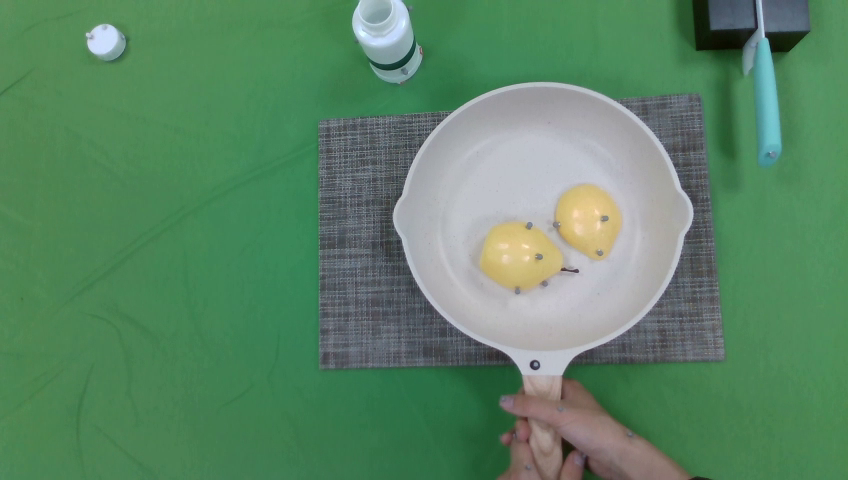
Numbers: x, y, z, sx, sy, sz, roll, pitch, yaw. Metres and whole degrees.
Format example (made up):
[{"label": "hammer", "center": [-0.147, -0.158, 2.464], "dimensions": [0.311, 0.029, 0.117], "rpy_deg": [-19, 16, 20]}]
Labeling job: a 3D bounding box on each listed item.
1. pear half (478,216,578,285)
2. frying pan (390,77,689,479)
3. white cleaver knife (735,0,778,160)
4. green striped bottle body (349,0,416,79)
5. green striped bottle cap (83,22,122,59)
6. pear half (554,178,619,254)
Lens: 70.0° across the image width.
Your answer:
[{"label": "pear half", "center": [0.116, 0.014, 0.661], "dimensions": [0.109, 0.056, 0.076], "rpy_deg": [10, 88, 6]}, {"label": "frying pan", "center": [0.117, 0.072, 0.628], "dimensions": [0.306, 0.103, 0.485], "rpy_deg": [0, 73, 8]}, {"label": "white cleaver knife", "center": [0.360, -0.226, 0.664], "dimensions": [0.021, 0.066, 0.285], "rpy_deg": [0, 81, 12]}, {"label": "green striped bottle body", "center": [-0.047, -0.235, 0.685], "dimensions": [0.063, 0.119, 0.063], "rpy_deg": [-1, 82, 7]}, {"label": "green striped bottle cap", "center": [-0.414, -0.258, 0.781], "dimensions": [0.044, 0.020, 0.044], "rpy_deg": [-1, 82, 7]}, {"label": "pear half", "center": [0.182, -0.029, 0.671], "dimensions": [0.070, 0.031, 0.087], "rpy_deg": [-18, 76, 9]}]
